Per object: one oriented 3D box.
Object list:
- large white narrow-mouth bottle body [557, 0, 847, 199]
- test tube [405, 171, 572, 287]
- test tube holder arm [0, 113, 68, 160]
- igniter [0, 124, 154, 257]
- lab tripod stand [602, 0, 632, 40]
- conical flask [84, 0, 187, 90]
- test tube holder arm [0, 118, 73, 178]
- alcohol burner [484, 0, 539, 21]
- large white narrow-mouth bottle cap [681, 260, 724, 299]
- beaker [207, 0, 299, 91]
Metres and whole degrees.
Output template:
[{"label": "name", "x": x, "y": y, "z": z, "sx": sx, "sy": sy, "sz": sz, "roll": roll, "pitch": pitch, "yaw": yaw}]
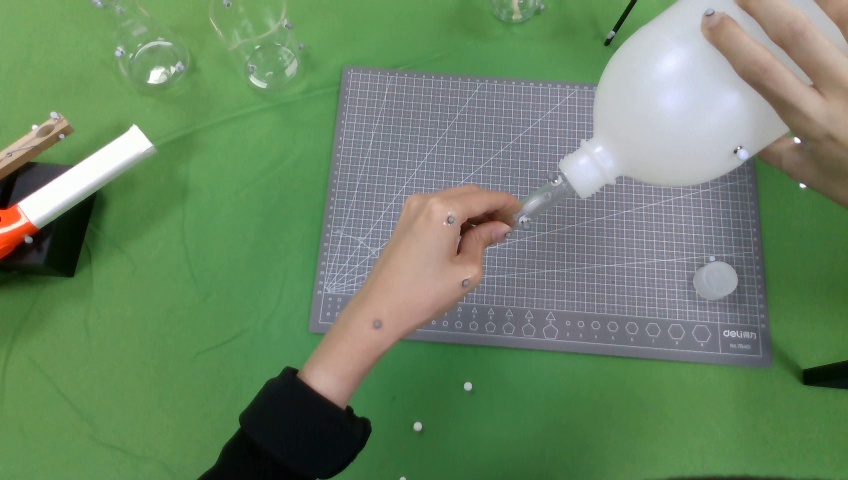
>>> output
[{"label": "large white narrow-mouth bottle body", "x": 0.166, "y": -0.094, "z": 0.360, "sx": 0.195, "sy": 0.102, "sz": 0.101, "roll": -38, "pitch": 75, "yaw": 13}, {"label": "test tube", "x": 0.040, "y": -0.003, "z": 0.429, "sx": 0.150, "sy": 0.017, "sz": 0.017, "roll": -34, "pitch": 70, "yaw": 32}, {"label": "test tube holder arm", "x": -0.418, "y": -0.062, "z": 0.573, "sx": 0.178, "sy": 0.015, "sz": 0.013, "roll": -40, "pitch": 78, "yaw": -13}, {"label": "igniter", "x": -0.377, "y": -0.017, "z": 0.557, "sx": 0.276, "sy": 0.025, "sz": 0.057, "roll": -40, "pitch": 79, "yaw": -15}, {"label": "lab tripod stand", "x": 0.269, "y": -0.281, "z": 0.641, "sx": 0.148, "sy": 0.132, "sz": 0.147, "roll": 1, "pitch": 72, "yaw": -2}, {"label": "conical flask", "x": -0.299, "y": -0.215, "z": 0.618, "sx": 0.075, "sy": 0.122, "sz": 0.075, "roll": 0, "pitch": 72, "yaw": 0}, {"label": "test tube holder arm", "x": -0.380, "y": -0.086, "z": 0.582, "sx": 0.088, "sy": 0.015, "sz": 0.010, "roll": -39, "pitch": 77, "yaw": -12}, {"label": "alcohol burner", "x": 0.100, "y": -0.296, "z": 0.654, "sx": 0.078, "sy": 0.120, "sz": 0.077, "roll": 1, "pitch": 71, "yaw": -2}, {"label": "large white narrow-mouth bottle cap", "x": 0.276, "y": 0.039, "z": 0.599, "sx": 0.038, "sy": 0.024, "sz": 0.037, "roll": 0, "pitch": 74, "yaw": 0}, {"label": "beaker", "x": -0.174, "y": -0.207, "z": 0.630, "sx": 0.074, "sy": 0.101, "sz": 0.083, "roll": 19, "pitch": 74, "yaw": 6}]
